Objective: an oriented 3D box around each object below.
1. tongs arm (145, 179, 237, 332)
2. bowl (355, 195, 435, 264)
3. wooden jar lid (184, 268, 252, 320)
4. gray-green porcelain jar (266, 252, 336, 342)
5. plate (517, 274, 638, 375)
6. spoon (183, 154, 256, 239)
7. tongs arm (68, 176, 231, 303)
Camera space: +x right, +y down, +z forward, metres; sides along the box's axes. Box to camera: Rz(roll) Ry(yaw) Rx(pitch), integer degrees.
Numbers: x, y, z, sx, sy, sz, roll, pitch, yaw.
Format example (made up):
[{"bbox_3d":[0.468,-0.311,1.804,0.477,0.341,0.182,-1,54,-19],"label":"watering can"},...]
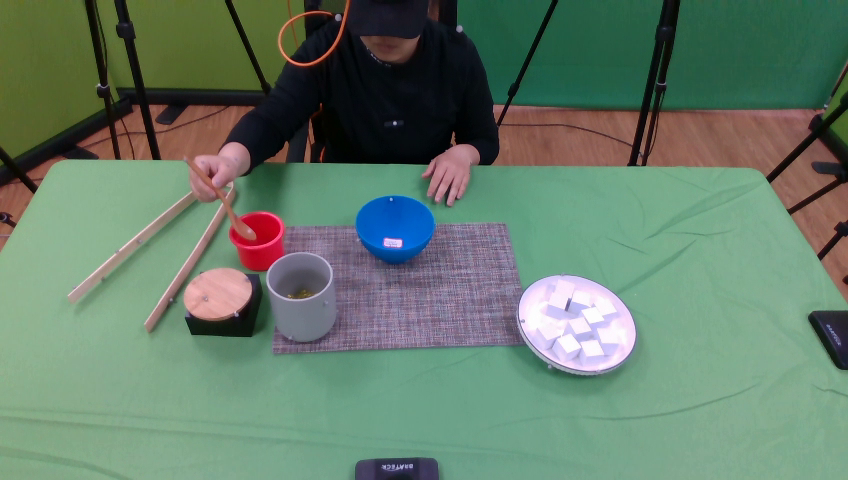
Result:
[{"bbox_3d":[-0.432,0.015,1.149,0.028,0.028,0.385,8,46,7],"label":"tongs arm"},{"bbox_3d":[-0.056,-0.008,1.158,0.151,0.077,0.150,2,46,-2],"label":"bowl"},{"bbox_3d":[-0.343,0.092,1.015,0.108,0.021,0.107,3,46,-3],"label":"wooden jar lid"},{"bbox_3d":[-0.202,0.100,1.009,0.106,0.127,0.105,2,46,-2],"label":"gray-green porcelain jar"},{"bbox_3d":[0.264,0.149,1.060,0.209,0.038,0.208,3,46,-3],"label":"plate"},{"bbox_3d":[-0.351,-0.073,1.048,0.021,0.195,0.041,-22,36,6],"label":"spoon"},{"bbox_3d":[-0.510,-0.010,1.162,0.050,0.026,0.383,20,47,14],"label":"tongs arm"}]
